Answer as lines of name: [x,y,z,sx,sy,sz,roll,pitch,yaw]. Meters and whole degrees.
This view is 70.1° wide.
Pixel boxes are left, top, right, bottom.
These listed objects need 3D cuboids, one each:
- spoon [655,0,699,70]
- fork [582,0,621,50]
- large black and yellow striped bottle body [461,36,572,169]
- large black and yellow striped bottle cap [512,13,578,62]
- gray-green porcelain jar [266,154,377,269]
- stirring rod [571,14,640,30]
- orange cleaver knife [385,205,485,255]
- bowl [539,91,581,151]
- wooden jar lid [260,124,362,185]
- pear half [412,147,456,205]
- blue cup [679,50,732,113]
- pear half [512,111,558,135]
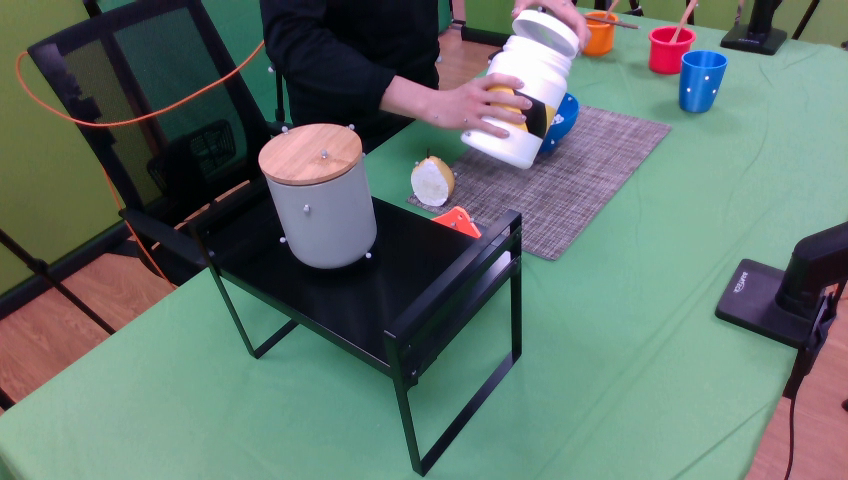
spoon: [0.567,-0.463,1.337,0.041,0.022,0.193,30,96,38]
fork: [0.446,-0.539,1.438,0.207,0.019,0.028,-57,36,12]
large black and yellow striped bottle body: [0.153,-0.224,0.991,0.131,0.184,0.130,23,12,-5]
large black and yellow striped bottle cap: [0.195,-0.325,0.974,0.114,0.116,0.019,32,94,37]
gray-green porcelain jar: [-0.112,-0.039,0.685,0.106,0.127,0.105,-4,40,4]
stirring rod: [0.419,-0.508,1.404,0.174,0.006,0.014,28,55,35]
orange cleaver knife: [0.012,-0.010,0.942,0.012,0.077,0.210,-36,19,-35]
bowl: [0.220,-0.223,1.155,0.151,0.077,0.150,-4,40,4]
wooden jar lid: [-0.119,-0.088,0.645,0.108,0.021,0.108,-4,40,4]
pear half: [0.019,-0.120,1.042,0.076,0.110,0.056,11,43,16]
blue cup: [0.546,-0.309,1.193,0.092,0.100,0.092,-4,39,4]
pear half: [0.212,-0.227,1.152,0.088,0.031,0.070,7,44,10]
